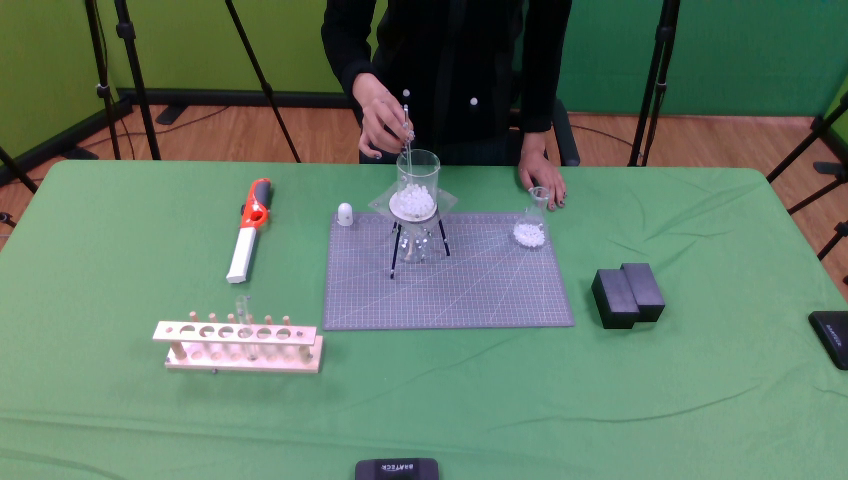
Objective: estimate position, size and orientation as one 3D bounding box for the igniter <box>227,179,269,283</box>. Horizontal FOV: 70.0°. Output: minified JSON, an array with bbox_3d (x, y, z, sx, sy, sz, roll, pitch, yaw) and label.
[{"bbox_3d":[-0.345,-0.027,1.195,0.057,0.025,0.274,-6,46,5],"label":"igniter"}]

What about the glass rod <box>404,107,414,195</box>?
[{"bbox_3d":[-0.025,-0.143,1.013,0.008,0.201,0.008,-1,53,2],"label":"glass rod"}]

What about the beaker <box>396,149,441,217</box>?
[{"bbox_3d":[-0.015,-0.098,1.053,0.074,0.101,0.083,-31,55,-30],"label":"beaker"}]

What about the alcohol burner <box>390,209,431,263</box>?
[{"bbox_3d":[-0.024,-0.014,1.145,0.078,0.119,0.077,4,44,-3],"label":"alcohol burner"}]

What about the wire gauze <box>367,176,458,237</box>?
[{"bbox_3d":[-0.020,-0.066,1.089,0.124,0.011,0.121,27,47,22],"label":"wire gauze"}]

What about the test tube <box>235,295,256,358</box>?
[{"bbox_3d":[-0.274,0.136,0.933,0.017,0.151,0.017,4,46,-4],"label":"test tube"}]

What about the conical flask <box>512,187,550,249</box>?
[{"bbox_3d":[0.217,-0.048,1.190,0.075,0.122,0.075,2,46,-2],"label":"conical flask"}]

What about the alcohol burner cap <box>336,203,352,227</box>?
[{"bbox_3d":[-0.162,-0.053,1.221,0.034,0.048,0.033,2,46,-2],"label":"alcohol burner cap"}]

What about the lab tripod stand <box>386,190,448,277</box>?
[{"bbox_3d":[-0.021,-0.018,1.135,0.148,0.132,0.147,3,44,-3],"label":"lab tripod stand"}]

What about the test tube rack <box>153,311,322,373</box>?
[{"bbox_3d":[-0.293,0.160,0.978,0.242,0.085,0.066,3,46,-2],"label":"test tube rack"}]
